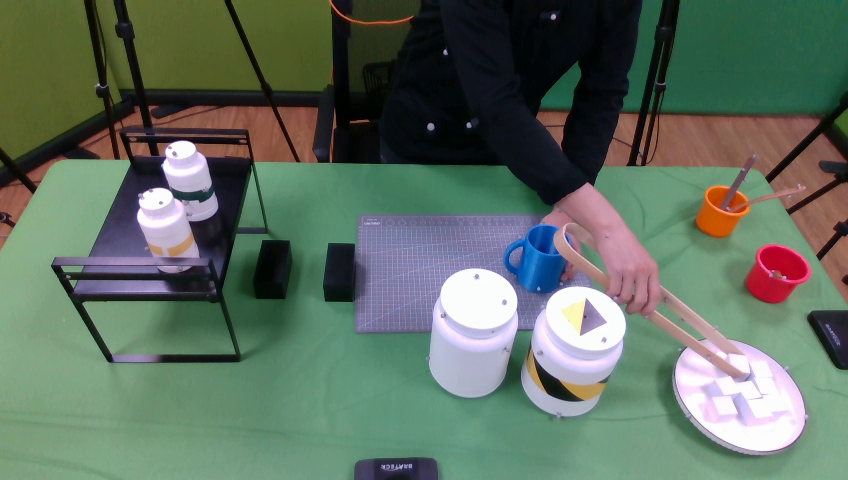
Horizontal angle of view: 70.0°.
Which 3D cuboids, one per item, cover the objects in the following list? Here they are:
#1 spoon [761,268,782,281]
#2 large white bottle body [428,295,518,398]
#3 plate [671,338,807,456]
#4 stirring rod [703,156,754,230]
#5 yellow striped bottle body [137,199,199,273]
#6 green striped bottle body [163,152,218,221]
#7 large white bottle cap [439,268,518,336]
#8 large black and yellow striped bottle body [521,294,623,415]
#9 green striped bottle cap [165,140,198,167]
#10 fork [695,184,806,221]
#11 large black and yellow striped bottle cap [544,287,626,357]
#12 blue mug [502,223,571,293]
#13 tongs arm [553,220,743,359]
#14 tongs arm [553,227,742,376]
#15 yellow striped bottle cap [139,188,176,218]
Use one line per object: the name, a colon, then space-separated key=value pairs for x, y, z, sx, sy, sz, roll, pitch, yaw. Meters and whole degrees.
spoon: x=0.638 y=0.060 z=1.105 sx=0.041 sy=0.021 sz=0.194 roll=38 pitch=11 yaw=24
large white bottle body: x=0.075 y=0.147 z=0.950 sx=0.131 sy=0.185 sz=0.130 roll=2 pitch=46 yaw=-2
plate: x=0.504 y=0.253 z=0.984 sx=0.208 sy=0.039 sz=0.206 roll=2 pitch=46 yaw=-2
stirring rod: x=0.631 y=-0.098 z=1.258 sx=0.014 sy=0.006 sz=0.176 roll=33 pitch=95 yaw=29
yellow striped bottle body: x=-0.366 y=-0.014 z=0.864 sx=0.063 sy=0.121 sz=0.062 roll=2 pitch=46 yaw=-2
green striped bottle body: x=-0.363 y=-0.092 z=0.939 sx=0.063 sy=0.120 sz=0.063 roll=2 pitch=46 yaw=-2
large white bottle cap: x=0.080 y=0.089 z=0.888 sx=0.115 sy=0.018 sz=0.114 roll=2 pitch=47 yaw=-2
large black and yellow striped bottle body: x=0.228 y=0.173 z=0.938 sx=0.131 sy=0.185 sz=0.130 roll=2 pitch=47 yaw=-2
green striped bottle cap: x=-0.361 y=-0.128 z=0.902 sx=0.044 sy=0.020 sz=0.044 roll=3 pitch=47 yaw=-3
fork: x=0.657 y=-0.075 z=1.230 sx=0.207 sy=0.019 sz=0.028 roll=-23 pitch=34 yaw=37
large black and yellow striped bottle cap: x=0.232 y=0.116 z=0.876 sx=0.115 sy=0.019 sz=0.114 roll=1 pitch=46 yaw=-1
blue mug: x=0.203 y=0.032 z=1.121 sx=0.116 sy=0.106 sz=0.082 roll=4 pitch=47 yaw=0
tongs arm: x=0.371 y=0.089 z=0.991 sx=0.385 sy=0.026 sz=0.050 roll=39 pitch=51 yaw=-5
tongs arm: x=0.361 y=0.107 z=0.975 sx=0.388 sy=0.028 sz=0.028 roll=36 pitch=55 yaw=-7
yellow striped bottle cap: x=-0.363 y=-0.051 z=0.826 sx=0.044 sy=0.019 sz=0.044 roll=1 pitch=47 yaw=-1
